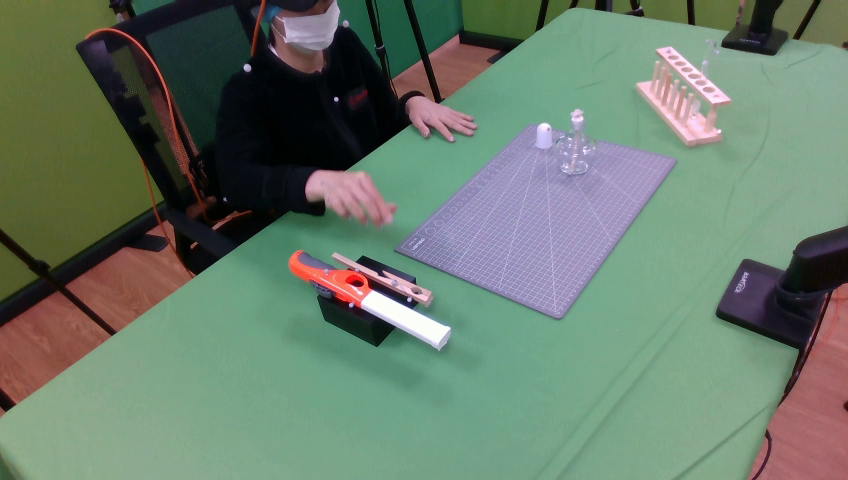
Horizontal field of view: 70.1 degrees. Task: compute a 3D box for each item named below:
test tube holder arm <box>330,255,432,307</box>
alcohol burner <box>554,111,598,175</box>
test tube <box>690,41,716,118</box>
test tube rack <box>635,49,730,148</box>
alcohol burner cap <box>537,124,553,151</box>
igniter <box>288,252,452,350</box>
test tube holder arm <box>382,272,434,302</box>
[{"bbox_3d":[-0.064,0.055,0.848,0.177,0.015,0.013,20,54,29],"label":"test tube holder arm"},{"bbox_3d":[0.270,-0.175,1.066,0.078,0.119,0.077,-4,42,4],"label":"alcohol burner"},{"bbox_3d":[0.514,-0.293,1.117,0.017,0.151,0.017,-3,42,3],"label":"test tube"},{"bbox_3d":[0.497,-0.283,1.184,0.067,0.085,0.240,-10,40,-2],"label":"test tube rack"},{"bbox_3d":[0.231,-0.199,1.158,0.034,0.048,0.033,-5,40,5],"label":"alcohol burner cap"},{"bbox_3d":[-0.084,0.077,0.821,0.274,0.025,0.057,23,48,27],"label":"igniter"},{"bbox_3d":[-0.024,0.065,0.829,0.087,0.015,0.010,21,54,30],"label":"test tube holder arm"}]
